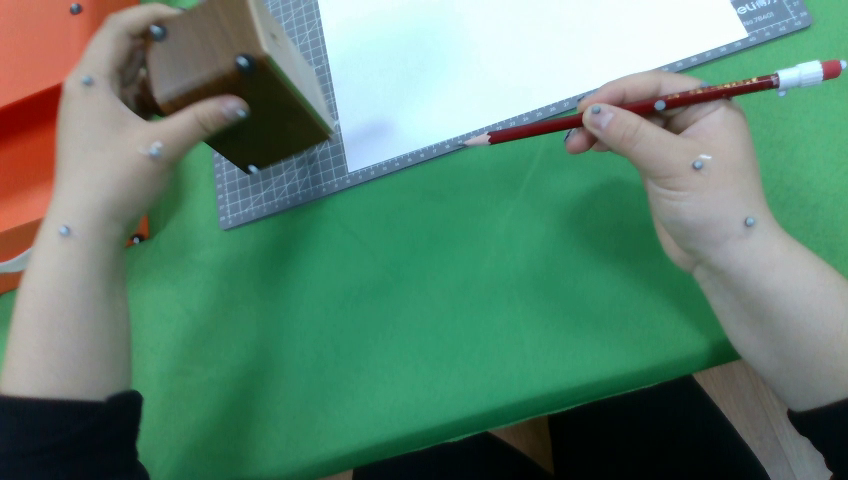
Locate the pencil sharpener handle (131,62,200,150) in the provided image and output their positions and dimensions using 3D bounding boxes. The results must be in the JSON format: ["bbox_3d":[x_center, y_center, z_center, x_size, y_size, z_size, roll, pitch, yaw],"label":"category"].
[{"bbox_3d":[-0.167,-0.080,0.383,0.030,0.068,0.035,-24,66,7],"label":"pencil sharpener handle"}]

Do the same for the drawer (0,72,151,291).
[{"bbox_3d":[-0.341,-0.073,0.511,0.194,0.074,0.210,-20,66,9],"label":"drawer"}]

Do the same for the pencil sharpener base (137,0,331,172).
[{"bbox_3d":[-0.118,-0.098,0.389,0.076,0.108,0.061,-24,70,7],"label":"pencil sharpener base"}]

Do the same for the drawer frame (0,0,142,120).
[{"bbox_3d":[-0.369,-0.177,0.556,0.201,0.083,0.211,-19,65,9],"label":"drawer frame"}]

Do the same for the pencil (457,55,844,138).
[{"bbox_3d":[0.112,-0.072,0.320,0.194,0.012,0.012,-9,68,13],"label":"pencil"}]
